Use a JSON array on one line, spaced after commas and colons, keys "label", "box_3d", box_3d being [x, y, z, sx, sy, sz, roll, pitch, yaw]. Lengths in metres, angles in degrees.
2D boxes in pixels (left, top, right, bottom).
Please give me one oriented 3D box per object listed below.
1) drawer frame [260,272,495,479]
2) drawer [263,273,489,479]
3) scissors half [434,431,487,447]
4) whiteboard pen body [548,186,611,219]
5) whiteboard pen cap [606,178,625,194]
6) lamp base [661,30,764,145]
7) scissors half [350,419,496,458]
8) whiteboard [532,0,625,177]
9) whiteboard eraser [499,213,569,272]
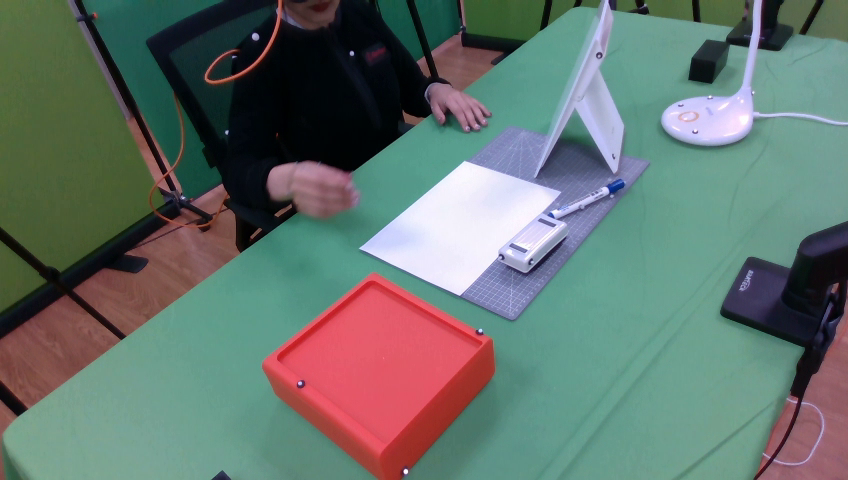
[{"label": "drawer frame", "box_3d": [-0.055, 0.159, 0.758, 0.212, 0.083, 0.202, 26, 50, 33]}, {"label": "drawer", "box_3d": [-0.057, 0.159, 0.760, 0.210, 0.073, 0.195, 27, 51, 34]}, {"label": "scissors half", "box_3d": [0.000, 0.234, 0.706, 0.176, 0.040, 0.012, 12, 26, -25]}, {"label": "whiteboard pen body", "box_3d": [0.267, -0.066, 1.004, 0.141, 0.017, 0.017, -25, 43, -13]}, {"label": "whiteboard pen cap", "box_3d": [0.320, -0.090, 1.016, 0.033, 0.018, 0.018, -27, 43, -14]}, {"label": "lamp base", "box_3d": [0.535, -0.287, 1.096, 0.179, 0.181, 0.159, -10, 40, -4]}, {"label": "scissors half", "box_3d": [0.002, 0.224, 0.700, 0.176, 0.040, 0.012, -4, 39, -17]}, {"label": "whiteboard", "box_3d": [0.320, -0.259, 1.050, 0.144, 0.306, 0.217, 21, 45, 5]}, {"label": "whiteboard eraser", "box_3d": [0.168, 0.006, 0.923, 0.055, 0.042, 0.113, 29, 53, 34]}]
